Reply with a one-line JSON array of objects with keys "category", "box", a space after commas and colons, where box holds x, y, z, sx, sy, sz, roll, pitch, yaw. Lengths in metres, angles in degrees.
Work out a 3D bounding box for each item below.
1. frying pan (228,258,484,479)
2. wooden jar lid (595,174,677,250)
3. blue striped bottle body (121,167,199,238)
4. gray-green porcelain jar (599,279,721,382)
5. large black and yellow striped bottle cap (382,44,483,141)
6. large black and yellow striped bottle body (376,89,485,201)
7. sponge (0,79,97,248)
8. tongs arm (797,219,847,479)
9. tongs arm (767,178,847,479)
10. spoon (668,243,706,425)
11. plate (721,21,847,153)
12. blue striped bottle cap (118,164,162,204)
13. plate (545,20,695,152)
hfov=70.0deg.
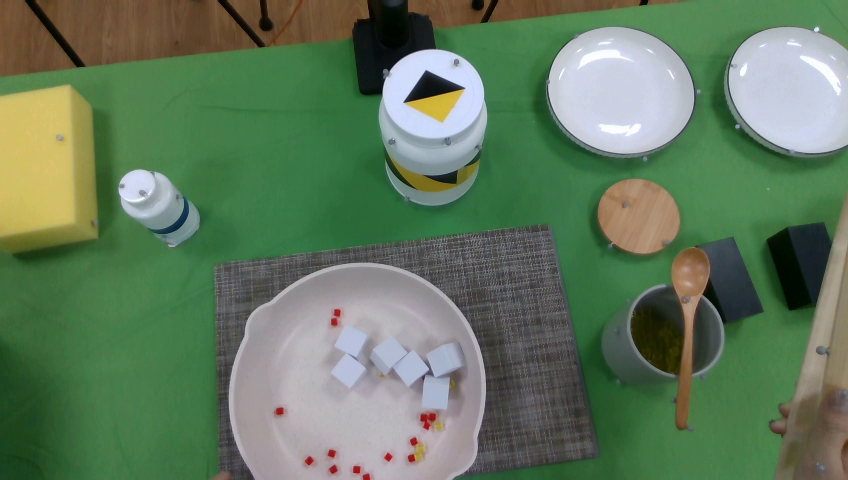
[{"category": "frying pan", "box": [-0.134, 0.246, 0.679, 0.306, 0.103, 0.486, 33, 67, 10]}, {"category": "wooden jar lid", "box": [0.284, -0.036, 0.818, 0.108, 0.021, 0.108, 0, 74, 0]}, {"category": "blue striped bottle body", "box": [-0.335, -0.050, 0.763, 0.063, 0.121, 0.062, 0, 72, 0]}, {"category": "gray-green porcelain jar", "box": [0.270, 0.112, 0.716, 0.106, 0.127, 0.105, 0, 72, 0]}, {"category": "large black and yellow striped bottle cap", "box": [0.009, -0.167, 0.683, 0.115, 0.019, 0.114, 0, 74, 0]}, {"category": "large black and yellow striped bottle body", "box": [0.008, -0.140, 0.762, 0.131, 0.185, 0.130, 0, 72, 0]}, {"category": "sponge", "box": [-0.515, -0.103, 0.809, 0.118, 0.061, 0.205, -12, 74, -5]}, {"category": "tongs arm", "box": [0.305, 0.144, 0.472, 0.026, 0.050, 0.386, 2, 107, 10]}, {"category": "tongs arm", "box": [0.308, 0.137, 0.490, 0.028, 0.028, 0.390, 0, 113, 7]}, {"category": "spoon", "box": [0.277, 0.098, 0.647, 0.041, 0.022, 0.193, 10, 76, -2]}, {"category": "plate", "box": [0.526, -0.215, 0.865, 0.209, 0.038, 0.208, 0, 72, 0]}, {"category": "blue striped bottle cap", "box": [-0.335, -0.067, 0.715, 0.044, 0.021, 0.044, 0, 74, -1]}, {"category": "plate", "box": [0.275, -0.216, 0.865, 0.208, 0.039, 0.206, 0, 73, 0]}]
